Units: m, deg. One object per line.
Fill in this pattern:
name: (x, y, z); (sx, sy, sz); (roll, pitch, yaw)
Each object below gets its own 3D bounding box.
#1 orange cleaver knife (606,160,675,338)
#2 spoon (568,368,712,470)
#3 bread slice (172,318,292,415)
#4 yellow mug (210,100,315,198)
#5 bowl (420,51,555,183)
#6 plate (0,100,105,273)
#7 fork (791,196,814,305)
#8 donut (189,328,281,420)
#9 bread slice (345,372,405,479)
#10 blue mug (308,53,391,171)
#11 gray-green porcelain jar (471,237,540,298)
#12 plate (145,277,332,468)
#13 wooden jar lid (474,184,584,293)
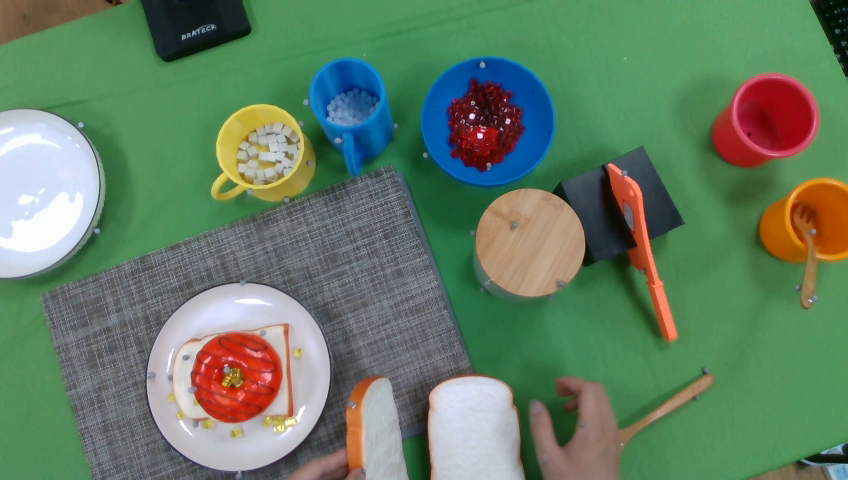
orange cleaver knife: (0.242, 0.011, 0.681); (0.012, 0.076, 0.212); (-22, 108, -2)
spoon: (0.247, 0.198, 0.684); (0.194, 0.022, 0.041); (-31, 65, -3)
bread slice: (-0.219, 0.149, 0.690); (0.131, 0.019, 0.104); (-7, 81, -3)
yellow mug: (-0.197, -0.095, 0.712); (0.131, 0.064, 0.099); (-41, 83, -4)
bowl: (0.071, -0.132, 0.706); (0.151, 0.077, 0.151); (0, 82, 1)
plate: (-0.482, -0.062, 0.726); (0.208, 0.039, 0.207); (0, 82, 1)
fork: (0.405, 0.007, 0.645); (0.028, 0.019, 0.207); (43, 41, 0)
donut: (-0.205, 0.145, 0.659); (0.099, 0.048, 0.098); (0, 83, -2)
bread slice: (-0.049, 0.205, 0.624); (0.018, 0.107, 0.134); (-8, 86, 16)
blue mug: (-0.083, -0.137, 0.696); (0.082, 0.106, 0.116); (0, 82, 1)
gray-green porcelain jar: (0.105, 0.009, 0.661); (0.106, 0.127, 0.105); (0, 81, 1)
plate: (-0.206, 0.146, 0.687); (0.209, 0.038, 0.208); (0, 82, 1)
wooden jar lid: (0.103, -0.001, 0.599); (0.108, 0.021, 0.108); (0, 84, -2)
